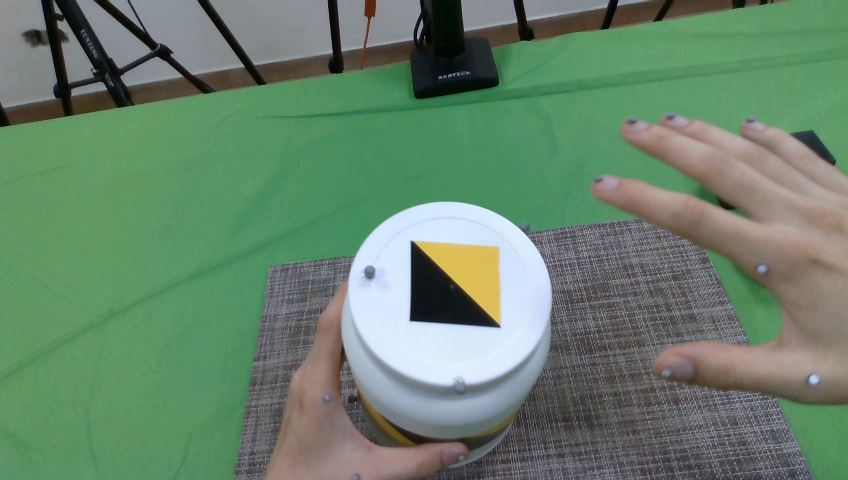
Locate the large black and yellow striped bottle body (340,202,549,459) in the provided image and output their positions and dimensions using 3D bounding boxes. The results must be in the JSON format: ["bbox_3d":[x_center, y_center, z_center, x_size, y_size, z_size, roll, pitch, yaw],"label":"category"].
[{"bbox_3d":[0.012,0.068,0.415,0.131,0.185,0.129,1,60,-1],"label":"large black and yellow striped bottle body"}]

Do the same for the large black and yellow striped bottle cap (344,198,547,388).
[{"bbox_3d":[0.012,0.026,0.343,0.115,0.019,0.114,2,60,-3],"label":"large black and yellow striped bottle cap"}]
